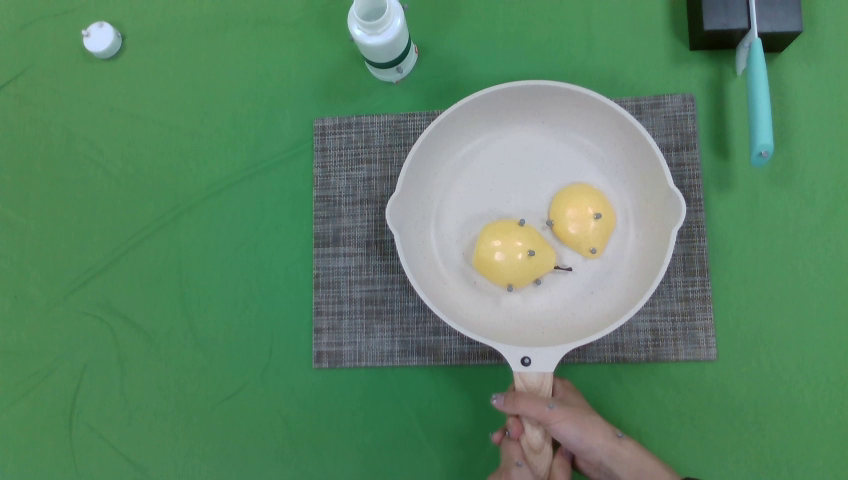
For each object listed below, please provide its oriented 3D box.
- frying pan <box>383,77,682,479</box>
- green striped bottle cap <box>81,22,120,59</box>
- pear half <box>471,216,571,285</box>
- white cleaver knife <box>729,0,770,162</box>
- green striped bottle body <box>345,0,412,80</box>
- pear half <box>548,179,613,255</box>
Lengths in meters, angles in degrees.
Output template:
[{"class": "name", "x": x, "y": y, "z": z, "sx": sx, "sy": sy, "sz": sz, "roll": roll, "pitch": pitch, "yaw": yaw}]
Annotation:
[{"class": "frying pan", "x": 0.107, "y": 0.069, "z": 0.622, "sx": 0.306, "sy": 0.103, "sz": 0.484, "roll": 0, "pitch": 70, "yaw": 8}, {"class": "green striped bottle cap", "x": -0.419, "y": -0.259, "z": 0.784, "sx": 0.044, "sy": 0.020, "sz": 0.044, "roll": -1, "pitch": 82, "yaw": 7}, {"class": "pear half", "x": 0.107, "y": 0.013, "z": 0.658, "sx": 0.109, "sy": 0.056, "sz": 0.076, "roll": 11, "pitch": 86, "yaw": 7}, {"class": "white cleaver knife", "x": 0.355, "y": -0.224, "z": 0.669, "sx": 0.021, "sy": 0.066, "sz": 0.285, "roll": 0, "pitch": 80, "yaw": 12}, {"class": "green striped bottle body", "x": -0.052, "y": -0.235, "z": 0.689, "sx": 0.063, "sy": 0.120, "sz": 0.063, "roll": -1, "pitch": 81, "yaw": 7}, {"class": "pear half", "x": 0.174, "y": -0.029, "z": 0.668, "sx": 0.070, "sy": 0.031, "sz": 0.087, "roll": -18, "pitch": 73, "yaw": 8}]
